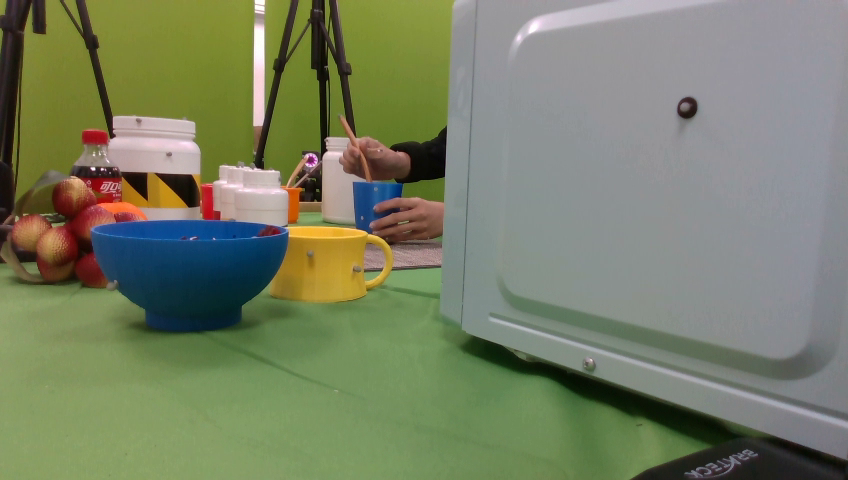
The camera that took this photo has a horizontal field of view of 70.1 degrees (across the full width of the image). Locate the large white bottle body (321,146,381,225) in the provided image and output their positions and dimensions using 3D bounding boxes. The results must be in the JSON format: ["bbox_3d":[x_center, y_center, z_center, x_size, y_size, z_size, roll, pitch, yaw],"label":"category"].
[{"bbox_3d":[-0.162,-0.131,1.340,0.131,0.184,0.130,2,8,0],"label":"large white bottle body"}]

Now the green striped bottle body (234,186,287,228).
[{"bbox_3d":[-0.200,-0.023,0.743,0.063,0.119,0.063,2,7,0],"label":"green striped bottle body"}]

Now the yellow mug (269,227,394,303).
[{"bbox_3d":[-0.094,0.023,0.629,0.131,0.064,0.099,0,7,-22],"label":"yellow mug"}]

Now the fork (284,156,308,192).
[{"bbox_3d":[-0.295,-0.116,1.323,0.028,0.019,0.207,1,50,21],"label":"fork"}]

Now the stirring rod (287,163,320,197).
[{"bbox_3d":[-0.283,-0.107,1.298,0.014,0.006,0.176,10,52,51],"label":"stirring rod"}]

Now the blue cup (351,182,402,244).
[{"bbox_3d":[-0.079,-0.046,1.010,0.093,0.100,0.092,1,5,0],"label":"blue cup"}]

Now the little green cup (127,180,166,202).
[{"bbox_3d":[-0.485,-0.086,1.061,0.061,0.038,0.061,1,7,0],"label":"little green cup"}]

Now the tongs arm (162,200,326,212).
[{"bbox_3d":[-0.433,-0.083,1.490,0.389,0.027,0.028,-1,0,-27],"label":"tongs arm"}]

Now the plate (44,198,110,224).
[{"bbox_3d":[-0.617,-0.056,1.179,0.209,0.038,0.209,3,7,0],"label":"plate"}]

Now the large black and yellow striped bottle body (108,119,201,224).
[{"bbox_3d":[-0.412,-0.088,0.930,0.131,0.184,0.130,3,7,0],"label":"large black and yellow striped bottle body"}]

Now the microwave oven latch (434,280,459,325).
[{"bbox_3d":[0.044,0.045,0.470,0.079,0.029,0.030,-2,8,-39],"label":"microwave oven latch"}]

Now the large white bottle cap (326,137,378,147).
[{"bbox_3d":[-0.158,-0.214,1.329,0.115,0.018,0.115,2,8,0],"label":"large white bottle cap"}]

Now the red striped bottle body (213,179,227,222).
[{"bbox_3d":[-0.284,-0.048,0.909,0.063,0.119,0.063,3,12,0],"label":"red striped bottle body"}]

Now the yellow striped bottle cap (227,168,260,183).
[{"bbox_3d":[-0.243,-0.087,0.818,0.044,0.018,0.044,3,6,0],"label":"yellow striped bottle cap"}]

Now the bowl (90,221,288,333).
[{"bbox_3d":[-0.190,0.029,0.500,0.151,0.077,0.151,3,7,0],"label":"bowl"}]

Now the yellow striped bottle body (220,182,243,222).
[{"bbox_3d":[-0.246,-0.036,0.825,0.063,0.120,0.063,3,8,0],"label":"yellow striped bottle body"}]

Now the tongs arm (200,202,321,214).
[{"bbox_3d":[-0.380,-0.076,1.420,0.387,0.026,0.050,-4,5,-42],"label":"tongs arm"}]

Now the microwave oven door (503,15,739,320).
[{"bbox_3d":[0.218,-0.065,0.600,0.358,0.243,0.039,-4,10,-41],"label":"microwave oven door"}]

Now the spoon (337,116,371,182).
[{"bbox_3d":[-0.105,-0.126,1.028,0.021,0.193,0.042,-24,-6,20],"label":"spoon"}]

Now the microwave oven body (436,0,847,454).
[{"bbox_3d":[0.279,-0.040,0.465,0.444,0.260,0.324,-3,9,-41],"label":"microwave oven body"}]

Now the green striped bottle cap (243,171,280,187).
[{"bbox_3d":[-0.198,-0.074,0.736,0.044,0.020,0.044,1,7,0],"label":"green striped bottle cap"}]

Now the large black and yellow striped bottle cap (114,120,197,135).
[{"bbox_3d":[-0.407,-0.171,0.920,0.115,0.019,0.115,2,9,0],"label":"large black and yellow striped bottle cap"}]

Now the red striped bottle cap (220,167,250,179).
[{"bbox_3d":[-0.281,-0.100,0.901,0.044,0.017,0.044,-1,5,0],"label":"red striped bottle cap"}]
